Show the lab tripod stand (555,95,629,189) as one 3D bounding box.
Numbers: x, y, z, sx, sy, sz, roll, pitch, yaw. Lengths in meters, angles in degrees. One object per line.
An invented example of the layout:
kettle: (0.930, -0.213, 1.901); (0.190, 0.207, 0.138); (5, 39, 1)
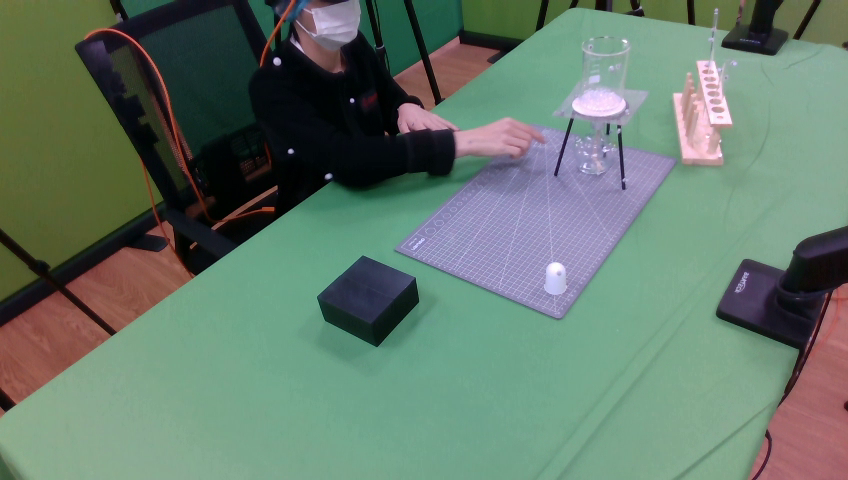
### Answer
lab tripod stand: (0.300, -0.174, 1.045); (0.148, 0.132, 0.147); (-5, 38, 5)

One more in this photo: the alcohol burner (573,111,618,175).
alcohol burner: (0.302, -0.174, 1.060); (0.078, 0.119, 0.077); (-3, 41, 4)

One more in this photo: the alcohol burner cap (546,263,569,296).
alcohol burner cap: (0.191, 0.053, 0.862); (0.034, 0.048, 0.033); (-5, 40, 4)

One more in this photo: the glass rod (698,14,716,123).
glass rod: (0.532, -0.320, 1.136); (0.008, 0.200, 0.008); (3, 12, 0)

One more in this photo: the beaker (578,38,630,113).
beaker: (0.290, -0.265, 0.976); (0.084, 0.101, 0.073); (-18, 41, -14)

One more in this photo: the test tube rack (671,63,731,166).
test tube rack: (0.513, -0.241, 1.132); (0.066, 0.085, 0.242); (4, 41, 14)

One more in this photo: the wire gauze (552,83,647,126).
wire gauze: (0.293, -0.224, 1.004); (0.120, 0.011, 0.125); (19, 43, 25)

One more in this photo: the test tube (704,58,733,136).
test tube: (0.516, -0.247, 1.062); (0.017, 0.151, 0.017); (-3, 43, 4)
